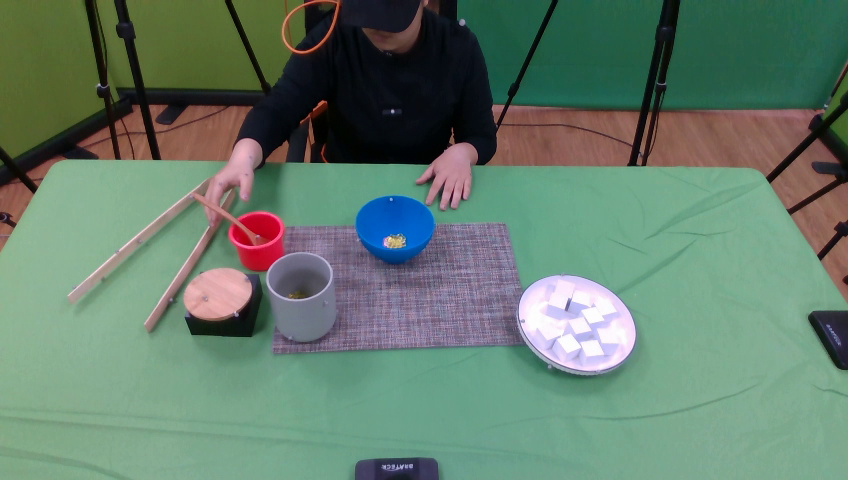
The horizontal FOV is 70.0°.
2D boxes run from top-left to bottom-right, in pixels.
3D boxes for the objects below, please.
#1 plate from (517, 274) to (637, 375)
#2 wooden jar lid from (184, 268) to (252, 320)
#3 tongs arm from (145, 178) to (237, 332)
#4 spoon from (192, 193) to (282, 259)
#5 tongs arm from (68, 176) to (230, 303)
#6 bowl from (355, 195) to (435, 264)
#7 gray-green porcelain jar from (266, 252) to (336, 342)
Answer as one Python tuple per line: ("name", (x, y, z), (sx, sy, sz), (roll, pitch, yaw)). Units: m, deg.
("plate", (0.264, 0.149, 1.060), (0.209, 0.038, 0.208), (3, 46, -3))
("wooden jar lid", (-0.343, 0.092, 1.015), (0.108, 0.021, 0.107), (3, 46, -3))
("tongs arm", (-0.432, 0.014, 1.149), (0.028, 0.028, 0.385), (8, 45, 7))
("spoon", (-0.342, -0.027, 1.115), (0.194, 0.021, 0.041), (43, 41, -25))
("tongs arm", (-0.510, -0.010, 1.162), (0.050, 0.026, 0.383), (20, 47, 14))
("bowl", (-0.056, -0.008, 1.158), (0.151, 0.077, 0.150), (2, 46, -2))
("gray-green porcelain jar", (-0.202, 0.100, 1.009), (0.106, 0.127, 0.105), (2, 46, -2))
